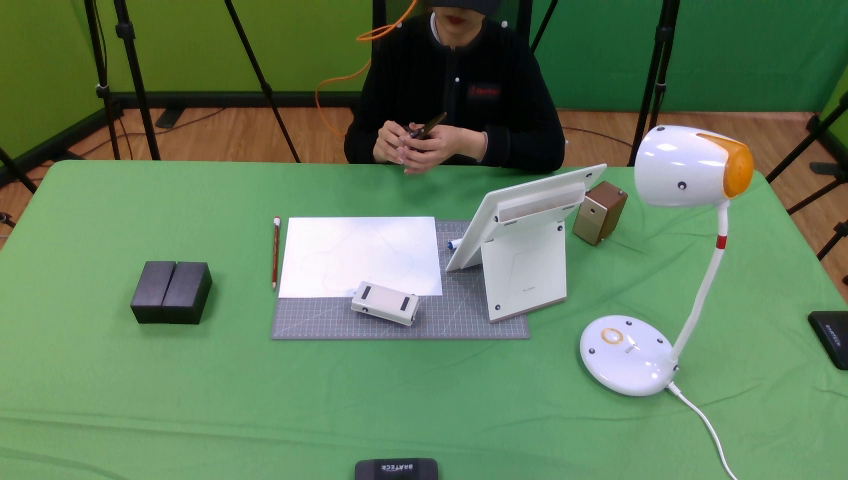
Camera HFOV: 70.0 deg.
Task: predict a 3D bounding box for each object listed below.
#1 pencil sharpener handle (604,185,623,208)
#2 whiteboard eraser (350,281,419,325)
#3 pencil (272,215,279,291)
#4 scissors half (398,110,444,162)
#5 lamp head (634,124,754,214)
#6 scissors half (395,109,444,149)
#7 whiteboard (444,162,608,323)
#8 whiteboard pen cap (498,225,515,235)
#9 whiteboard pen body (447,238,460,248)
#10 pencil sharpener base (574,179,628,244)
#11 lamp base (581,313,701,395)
[{"bbox_3d":[0.390,-0.092,1.235,0.030,0.068,0.036,-33,70,-31],"label":"pencil sharpener handle"},{"bbox_3d":[-0.069,0.113,1.065,0.112,0.042,0.055,14,46,10],"label":"whiteboard eraser"},{"bbox_3d":[-0.287,0.022,1.164,0.012,0.012,0.192,-4,48,-8],"label":"pencil"},{"bbox_3d":[-0.006,-0.201,1.174,0.013,0.175,0.040,-5,67,-33],"label":"scissors half"},{"bbox_3d":[0.351,-0.089,0.775,0.112,0.113,0.122,-30,30,-28],"label":"lamp head"},{"bbox_3d":[-0.011,-0.219,1.179,0.013,0.175,0.040,-11,85,-35],"label":"scissors half"},{"bbox_3d":[0.186,0.025,1.029,0.217,0.306,0.143,-14,68,-18],"label":"whiteboard"},{"bbox_3d":[0.166,-0.019,1.222,0.033,0.018,0.018,-14,49,-19],"label":"whiteboard pen cap"},{"bbox_3d":[0.112,-0.005,1.203,0.141,0.017,0.017,-14,49,-18],"label":"whiteboard pen body"},{"bbox_3d":[0.355,-0.057,1.217,0.076,0.107,0.061,-33,56,-31],"label":"pencil sharpener base"},{"bbox_3d":[0.361,0.144,0.972,0.178,0.181,0.160,34,53,23],"label":"lamp base"}]
